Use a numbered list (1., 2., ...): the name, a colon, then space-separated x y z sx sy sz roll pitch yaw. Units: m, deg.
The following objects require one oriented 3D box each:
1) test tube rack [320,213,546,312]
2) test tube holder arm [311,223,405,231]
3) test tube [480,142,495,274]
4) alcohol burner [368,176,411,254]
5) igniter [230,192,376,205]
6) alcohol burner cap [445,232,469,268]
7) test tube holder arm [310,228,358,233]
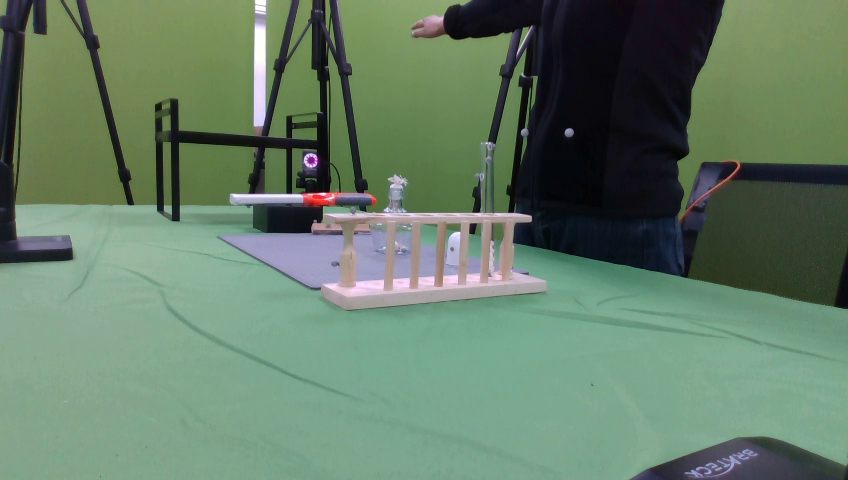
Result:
1. test tube rack: 0.017 0.017 0.638 0.244 0.085 0.066 -2 9 -31
2. test tube holder arm: -0.119 -0.024 1.116 0.179 0.015 0.013 -2 -21 -23
3. test tube: 0.072 -0.036 0.686 0.017 0.150 0.017 -1 5 0
4. alcohol burner: -0.045 -0.038 0.913 0.078 0.119 0.078 4 7 0
5. igniter: -0.226 -0.079 1.161 0.278 0.025 0.057 -2 15 -28
6. alcohol burner cap: 0.045 0.013 0.829 0.034 0.048 0.034 2 8 0
7. test tube holder arm: -0.163 -0.021 1.102 0.088 0.015 0.010 -2 -21 -23
